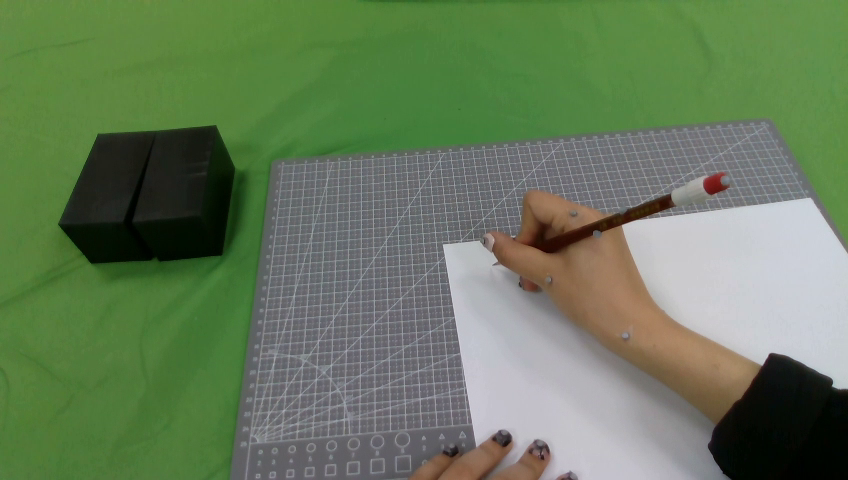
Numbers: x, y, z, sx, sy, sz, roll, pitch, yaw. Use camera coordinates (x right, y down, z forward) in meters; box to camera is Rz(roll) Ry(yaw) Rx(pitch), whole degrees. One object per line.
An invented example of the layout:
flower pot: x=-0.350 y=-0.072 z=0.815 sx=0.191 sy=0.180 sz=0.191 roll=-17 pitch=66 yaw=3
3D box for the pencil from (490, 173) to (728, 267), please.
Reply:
pencil: x=0.100 y=-0.005 z=0.379 sx=0.012 sy=0.194 sz=0.012 roll=10 pitch=70 yaw=-29
